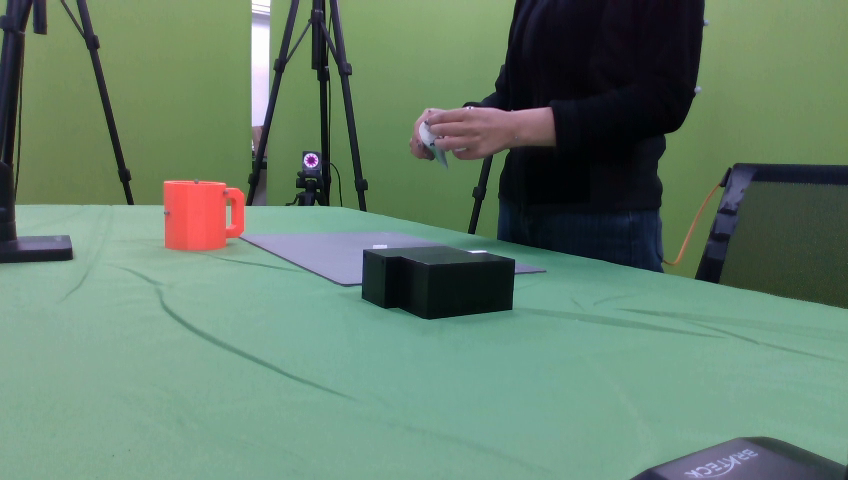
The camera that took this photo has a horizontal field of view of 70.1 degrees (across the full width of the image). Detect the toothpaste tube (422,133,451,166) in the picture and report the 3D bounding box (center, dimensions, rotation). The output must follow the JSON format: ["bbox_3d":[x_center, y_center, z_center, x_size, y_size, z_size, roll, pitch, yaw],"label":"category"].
[{"bbox_3d":[0.022,-0.165,1.049,0.055,0.034,0.165,44,-2,9],"label":"toothpaste tube"}]

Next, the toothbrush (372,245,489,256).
[{"bbox_3d":[0.012,0.016,0.875,0.183,0.016,0.014,1,-6,-22],"label":"toothbrush"}]

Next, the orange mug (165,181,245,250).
[{"bbox_3d":[-0.326,-0.040,0.911,0.083,0.101,0.127,8,14,37],"label":"orange mug"}]

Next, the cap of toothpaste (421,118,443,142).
[{"bbox_3d":[0.013,-0.176,0.965,0.037,0.037,0.011,1,14,-5],"label":"cap of toothpaste"}]
